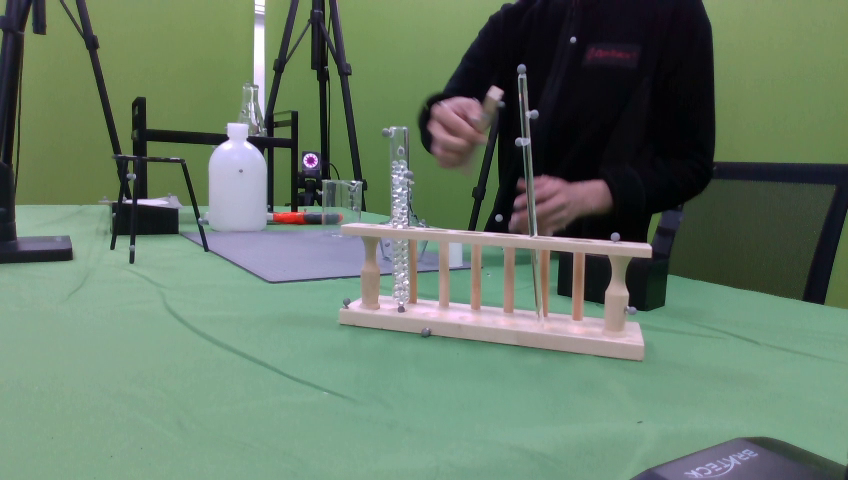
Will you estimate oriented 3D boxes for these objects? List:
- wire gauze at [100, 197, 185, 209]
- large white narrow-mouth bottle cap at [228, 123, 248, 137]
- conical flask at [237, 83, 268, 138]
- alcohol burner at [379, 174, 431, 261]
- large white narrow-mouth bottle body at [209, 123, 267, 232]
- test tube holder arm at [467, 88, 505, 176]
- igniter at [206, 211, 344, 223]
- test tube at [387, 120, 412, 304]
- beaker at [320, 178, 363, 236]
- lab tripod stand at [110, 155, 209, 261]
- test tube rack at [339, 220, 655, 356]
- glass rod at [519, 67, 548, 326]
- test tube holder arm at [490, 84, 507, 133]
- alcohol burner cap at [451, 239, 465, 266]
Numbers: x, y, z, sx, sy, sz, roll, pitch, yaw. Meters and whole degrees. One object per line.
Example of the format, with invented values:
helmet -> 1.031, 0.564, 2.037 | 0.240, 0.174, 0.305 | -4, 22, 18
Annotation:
wire gauze -> -0.469, -0.062, 1.008 | 0.126, 0.011, 0.121 | -2, 8, -25
large white narrow-mouth bottle cap -> -0.338, -0.199, 1.097 | 0.038, 0.024, 0.037 | 2, 8, 0
conical flask -> -0.402, -0.299, 1.406 | 0.075, 0.122, 0.075 | 2, 7, 0
alcohol burner -> -0.027, -0.031, 0.838 | 0.078, 0.119, 0.078 | 0, 6, 0
large white narrow-mouth bottle body -> -0.340, -0.115, 1.109 | 0.102, 0.194, 0.102 | 2, 8, 0
test tube holder arm -> 0.073, -0.127, 0.745 | 0.015, 0.013, 0.178 | 34, -23, 9
igniter -> -0.302, -0.048, 1.250 | 0.278, 0.025, 0.057 | -2, -2, -26
test tube -> -0.019, -0.021, 0.488 | 0.017, 0.150, 0.017 | -1, 13, 1
beaker -> -0.145, -0.059, 1.079 | 0.074, 0.100, 0.083 | -4, 10, -36
lab tripod stand -> -0.361, -0.046, 0.806 | 0.148, 0.131, 0.148 | 2, 5, 0
test tube rack -> 0.056, 0.032, 0.495 | 0.242, 0.085, 0.067 | 4, 7, 15
glass rod -> 0.084, -0.029, 0.459 | 0.008, 0.199, 0.008 | -7, 11, 2
test tube holder arm -> 0.081, -0.150, 0.706 | 0.015, 0.010, 0.088 | 34, -23, 9
alcohol burner cap -> 0.041, 0.010, 0.815 | 0.034, 0.048, 0.034 | 4, 8, 0
